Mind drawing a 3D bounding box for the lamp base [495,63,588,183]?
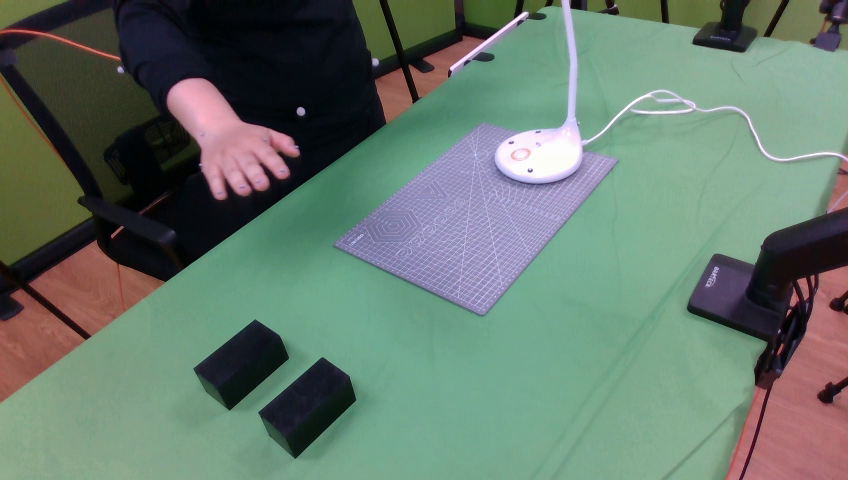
[{"bbox_3d":[0.214,-0.217,1.067,0.180,0.181,0.159,-20,42,-18],"label":"lamp base"}]
